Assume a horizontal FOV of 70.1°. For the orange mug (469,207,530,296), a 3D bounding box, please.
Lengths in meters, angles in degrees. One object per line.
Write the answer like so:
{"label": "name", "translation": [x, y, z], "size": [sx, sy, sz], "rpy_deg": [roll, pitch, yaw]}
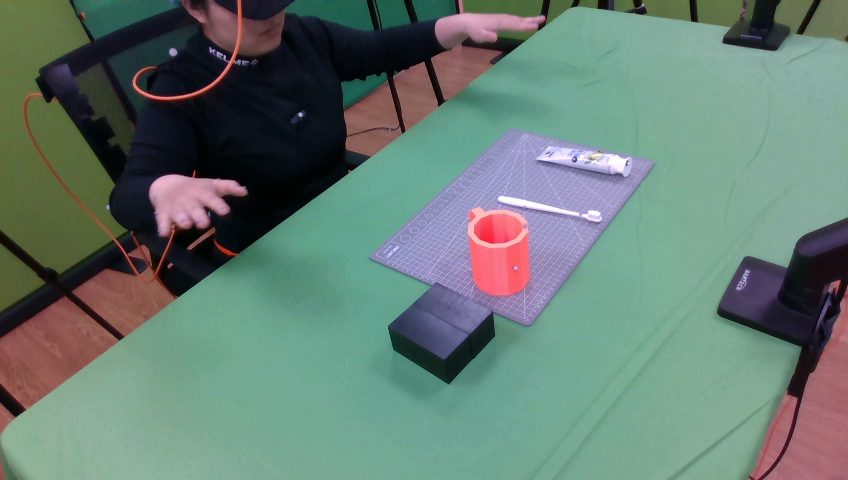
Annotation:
{"label": "orange mug", "translation": [0.104, 0.008, 0.894], "size": [0.084, 0.101, 0.125], "rpy_deg": [-22, 46, -14]}

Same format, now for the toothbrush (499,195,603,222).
{"label": "toothbrush", "translation": [0.209, -0.055, 1.010], "size": [0.180, 0.017, 0.014], "rpy_deg": [14, 62, 27]}

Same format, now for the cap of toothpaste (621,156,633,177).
{"label": "cap of toothpaste", "translation": [0.352, -0.128, 1.051], "size": [0.011, 0.037, 0.037], "rpy_deg": [18, 48, 35]}

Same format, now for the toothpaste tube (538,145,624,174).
{"label": "toothpaste tube", "translation": [0.292, -0.148, 1.097], "size": [0.164, 0.034, 0.055], "rpy_deg": [17, 41, 34]}
